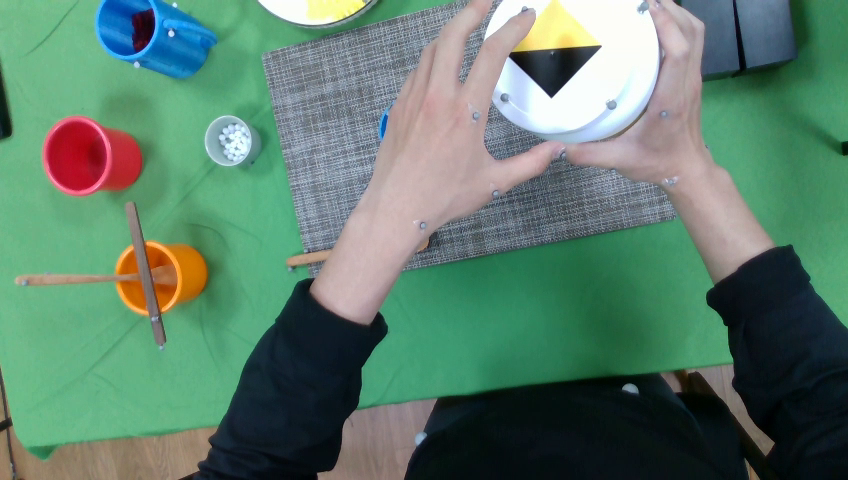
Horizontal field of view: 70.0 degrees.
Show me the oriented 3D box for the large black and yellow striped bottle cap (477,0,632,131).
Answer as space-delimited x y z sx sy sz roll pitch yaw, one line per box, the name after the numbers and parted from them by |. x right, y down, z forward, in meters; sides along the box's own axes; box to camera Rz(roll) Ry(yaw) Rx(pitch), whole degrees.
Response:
0.093 -0.139 0.448 0.114 0.019 0.115 6 103 28 | large black and yellow striped bottle cap

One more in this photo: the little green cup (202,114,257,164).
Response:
-0.241 -0.125 0.760 0.061 0.038 0.061 1 95 11 | little green cup

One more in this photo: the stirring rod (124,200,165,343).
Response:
-0.338 0.038 0.732 0.014 0.006 0.176 -11 92 11 | stirring rod

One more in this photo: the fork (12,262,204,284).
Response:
-0.380 0.043 0.742 0.208 0.018 0.028 -1 102 -33 | fork

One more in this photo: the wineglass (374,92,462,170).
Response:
-0.001 -0.112 0.648 0.073 0.172 0.074 1 94 10 | wineglass

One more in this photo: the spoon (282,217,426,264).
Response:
-0.090 0.006 0.750 0.193 0.021 0.042 -12 113 11 | spoon

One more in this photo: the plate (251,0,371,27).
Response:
-0.130 -0.358 0.722 0.209 0.038 0.209 1 95 9 | plate

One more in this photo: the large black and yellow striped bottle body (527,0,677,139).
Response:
0.136 -0.154 0.518 0.130 0.184 0.131 7 104 29 | large black and yellow striped bottle body

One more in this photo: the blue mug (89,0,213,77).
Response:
-0.315 -0.248 0.729 0.116 0.106 0.082 2 95 10 | blue mug
